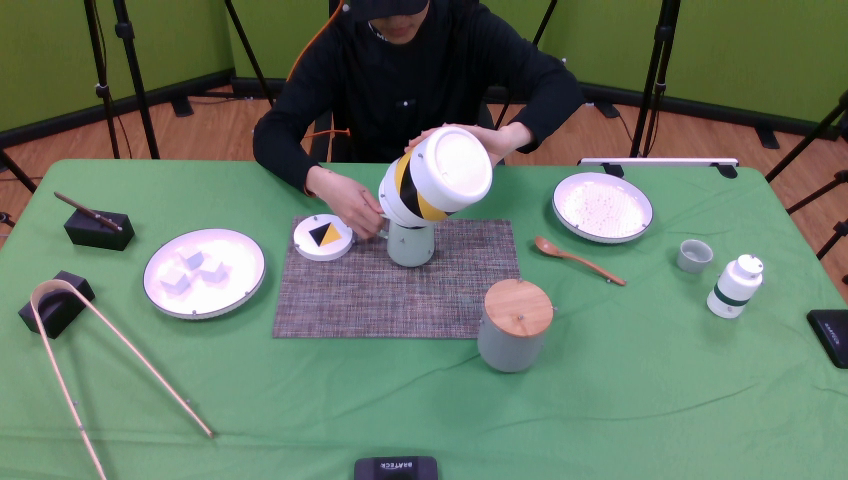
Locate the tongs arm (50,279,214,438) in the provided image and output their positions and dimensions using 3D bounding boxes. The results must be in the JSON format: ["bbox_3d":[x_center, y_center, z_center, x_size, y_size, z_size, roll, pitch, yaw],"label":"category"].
[{"bbox_3d":[-0.459,0.178,0.949,0.386,0.028,0.028,37,60,17],"label":"tongs arm"}]

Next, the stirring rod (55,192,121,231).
[{"bbox_3d":[-0.632,-0.055,1.138,0.175,0.014,0.006,24,50,19],"label":"stirring rod"}]

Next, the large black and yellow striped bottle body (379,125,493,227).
[{"bbox_3d":[0.013,-0.098,1.022,0.131,0.184,0.130,11,69,-30],"label":"large black and yellow striped bottle body"}]

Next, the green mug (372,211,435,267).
[{"bbox_3d":[-0.040,-0.015,1.145,0.125,0.105,0.092,16,48,12],"label":"green mug"}]

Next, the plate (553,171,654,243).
[{"bbox_3d":[0.374,-0.066,1.274,0.209,0.038,0.208,2,46,-2],"label":"plate"}]

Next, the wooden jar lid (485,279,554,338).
[{"bbox_3d":[0.147,0.108,0.940,0.108,0.021,0.107,4,48,-5],"label":"wooden jar lid"}]

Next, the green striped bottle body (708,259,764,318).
[{"bbox_3d":[0.563,0.081,1.089,0.063,0.120,0.063,2,46,-2],"label":"green striped bottle body"}]

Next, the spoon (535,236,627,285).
[{"bbox_3d":[0.304,0.040,1.178,0.193,0.022,0.041,25,35,20],"label":"spoon"}]

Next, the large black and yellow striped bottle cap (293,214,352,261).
[{"bbox_3d":[-0.198,-0.007,1.187,0.115,0.019,0.114,3,47,-3],"label":"large black and yellow striped bottle cap"}]

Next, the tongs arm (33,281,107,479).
[{"bbox_3d":[-0.517,0.214,0.910,0.051,0.026,0.383,-28,63,-27],"label":"tongs arm"}]

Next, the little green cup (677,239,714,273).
[{"bbox_3d":[0.530,0.033,1.189,0.061,0.039,0.061,2,47,-2],"label":"little green cup"}]

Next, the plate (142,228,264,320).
[{"bbox_3d":[-0.394,0.064,1.095,0.208,0.039,0.206,2,46,-2],"label":"plate"}]

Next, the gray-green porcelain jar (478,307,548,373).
[{"bbox_3d":[0.144,0.148,0.989,0.106,0.127,0.105,2,50,-2],"label":"gray-green porcelain jar"}]

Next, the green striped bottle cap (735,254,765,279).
[{"bbox_3d":[0.566,0.046,1.051,0.044,0.020,0.044,0,45,0],"label":"green striped bottle cap"}]
